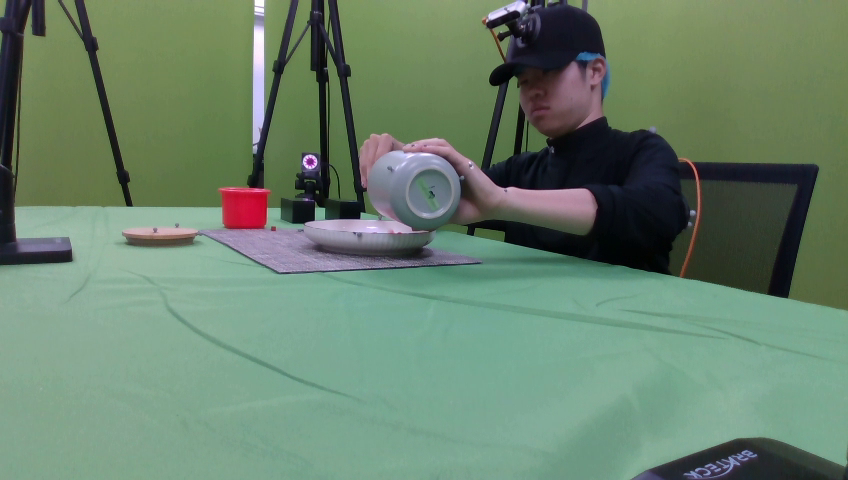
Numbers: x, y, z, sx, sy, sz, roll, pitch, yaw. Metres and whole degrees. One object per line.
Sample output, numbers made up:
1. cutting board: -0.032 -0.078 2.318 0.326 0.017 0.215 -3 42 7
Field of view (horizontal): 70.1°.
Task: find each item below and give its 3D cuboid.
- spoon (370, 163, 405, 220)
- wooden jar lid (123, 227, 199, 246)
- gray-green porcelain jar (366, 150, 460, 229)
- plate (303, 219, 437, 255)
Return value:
1. spoon: -0.067 -0.083 0.974 0.042 0.021 0.193 22 19 -28
2. wooden jar lid: -0.408 -0.006 0.942 0.108 0.020 0.108 3 6 0
3. gray-green porcelain jar: -0.015 -0.073 0.853 0.106 0.106 0.126 0 9 -21
4. plate: -0.084 -0.005 0.952 0.208 0.039 0.207 3 7 0
